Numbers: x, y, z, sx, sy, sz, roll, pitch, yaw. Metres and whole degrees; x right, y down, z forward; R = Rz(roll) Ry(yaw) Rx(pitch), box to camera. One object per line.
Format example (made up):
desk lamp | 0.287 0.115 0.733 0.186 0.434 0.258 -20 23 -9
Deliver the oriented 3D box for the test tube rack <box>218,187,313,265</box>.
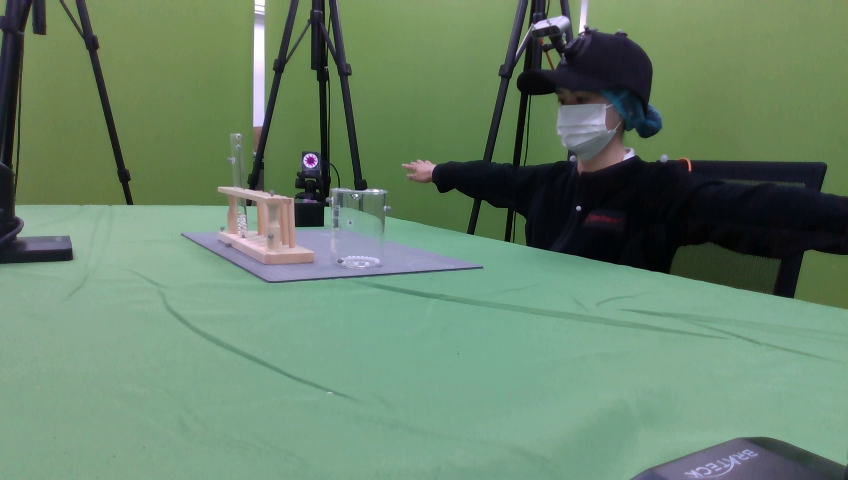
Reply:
test tube rack | -0.235 -0.027 0.872 0.067 0.085 0.241 -2 8 -32

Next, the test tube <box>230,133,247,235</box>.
test tube | -0.273 -0.081 0.892 0.017 0.150 0.017 -1 9 0

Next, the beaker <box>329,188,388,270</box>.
beaker | -0.087 -0.016 0.786 0.074 0.100 0.083 1 7 -13
